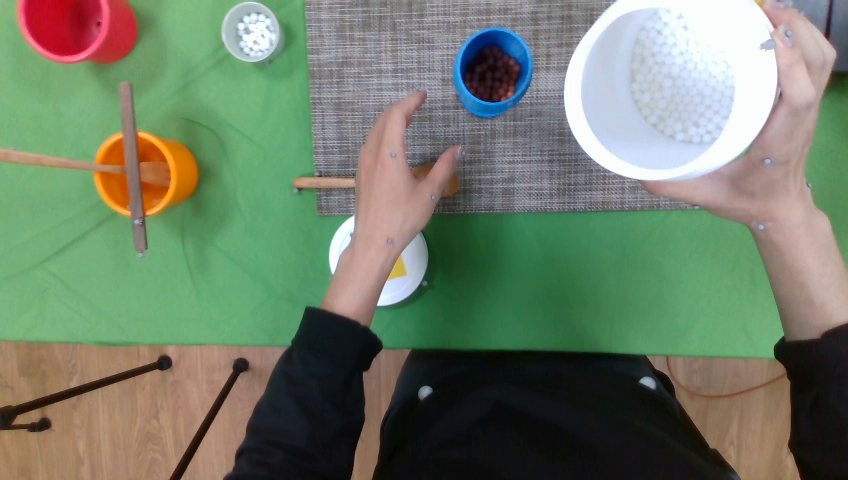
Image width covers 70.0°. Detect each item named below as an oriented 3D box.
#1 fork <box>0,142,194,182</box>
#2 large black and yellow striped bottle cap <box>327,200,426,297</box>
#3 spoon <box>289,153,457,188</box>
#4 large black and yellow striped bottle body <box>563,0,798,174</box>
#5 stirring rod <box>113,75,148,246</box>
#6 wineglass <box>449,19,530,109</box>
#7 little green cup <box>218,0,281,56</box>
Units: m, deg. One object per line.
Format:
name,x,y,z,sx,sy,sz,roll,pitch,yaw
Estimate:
fork,-0.348,-0.084,0.636,0.209,0.018,0.028,3,110,-41
large black and yellow striped bottle cap,-0.055,0.011,0.704,0.115,0.018,0.115,0,104,2
spoon,-0.059,-0.075,0.682,0.194,0.021,0.042,-2,122,3
large black and yellow striped bottle body,0.186,-0.123,0.436,0.130,0.184,0.131,16,119,31
stirring rod,-0.306,-0.081,0.631,0.014,0.006,0.176,-2,101,4
wineglass,0.060,-0.163,0.583,0.074,0.172,0.074,1,99,4
little green cup,-0.186,-0.229,0.656,0.061,0.038,0.062,1,101,4
